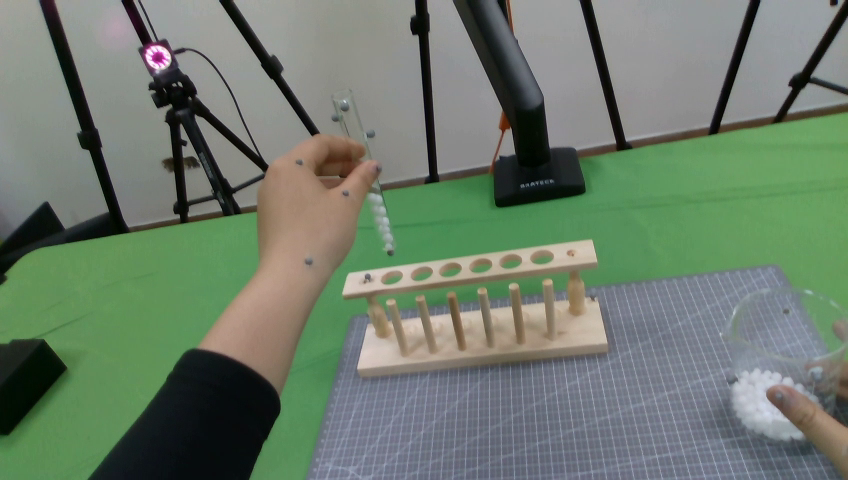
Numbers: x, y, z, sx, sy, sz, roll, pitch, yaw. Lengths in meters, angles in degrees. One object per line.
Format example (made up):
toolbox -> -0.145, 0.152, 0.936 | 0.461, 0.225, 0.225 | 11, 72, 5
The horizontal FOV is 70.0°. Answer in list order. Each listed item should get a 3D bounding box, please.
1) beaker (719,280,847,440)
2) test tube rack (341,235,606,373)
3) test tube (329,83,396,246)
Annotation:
beaker -> 0.262, 0.092, 0.447 | 0.084, 0.101, 0.073 | -9, 35, 13
test tube rack -> 0.045, 0.064, 0.587 | 0.242, 0.086, 0.066 | -8, 35, 11
test tube -> -0.045, -0.053, 0.474 | 0.017, 0.152, 0.017 | -8, 42, 8
